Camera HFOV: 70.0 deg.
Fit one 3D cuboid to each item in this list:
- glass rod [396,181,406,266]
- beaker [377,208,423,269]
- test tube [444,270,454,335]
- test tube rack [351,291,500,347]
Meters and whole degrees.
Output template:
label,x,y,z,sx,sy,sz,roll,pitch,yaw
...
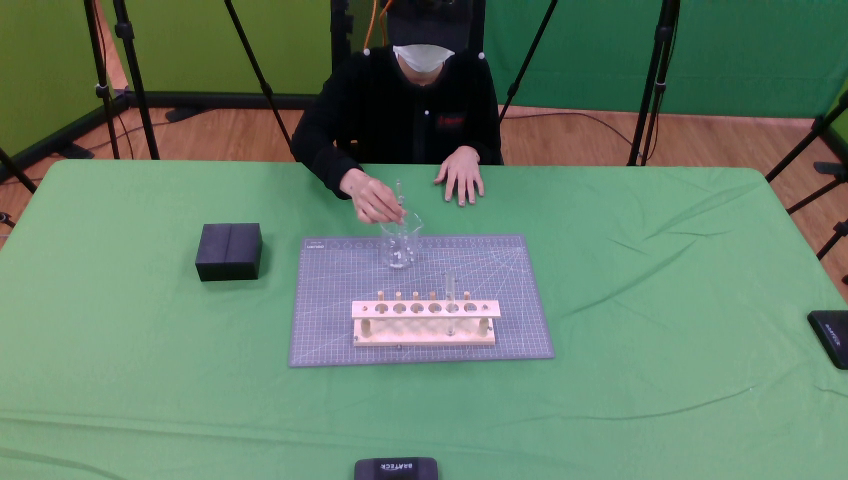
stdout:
label,x,y,z,sx,sy,sz,roll,pitch,yaw
glass rod,-0.040,-0.024,1.088,0.008,0.201,0.008,-2,42,2
beaker,-0.046,0.000,1.137,0.084,0.101,0.073,3,46,-3
test tube,0.041,0.105,0.983,0.017,0.151,0.017,-1,44,1
test tube rack,0.000,0.129,1.026,0.242,0.085,0.066,0,46,-4
